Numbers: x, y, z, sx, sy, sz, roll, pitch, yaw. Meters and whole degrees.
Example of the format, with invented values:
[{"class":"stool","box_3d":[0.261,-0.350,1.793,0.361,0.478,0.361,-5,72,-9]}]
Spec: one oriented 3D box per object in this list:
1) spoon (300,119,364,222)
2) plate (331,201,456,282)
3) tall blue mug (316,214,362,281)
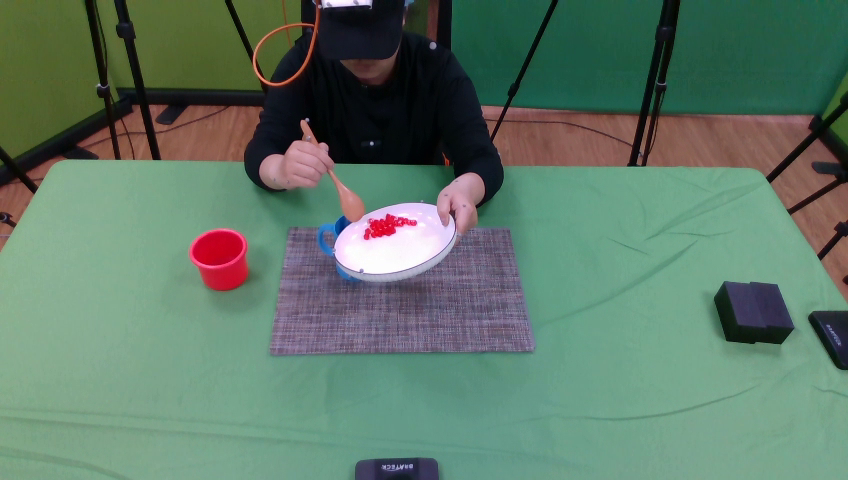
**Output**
[{"class":"spoon","box_3d":[-0.159,-0.116,1.028,0.041,0.194,0.021,-36,13,-22]},{"class":"plate","box_3d":[-0.048,0.005,0.999,0.207,0.039,0.206,-9,33,6]},{"class":"tall blue mug","box_3d":[-0.142,0.014,1.109,0.107,0.108,0.077,-4,48,-9]}]
